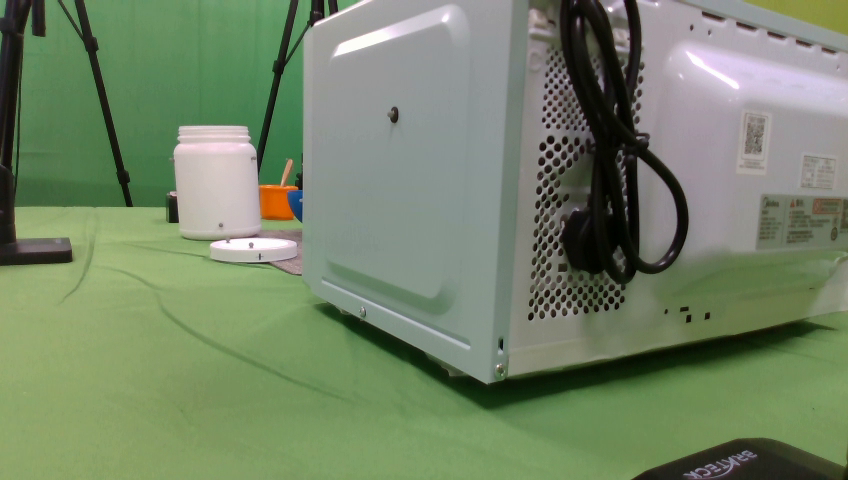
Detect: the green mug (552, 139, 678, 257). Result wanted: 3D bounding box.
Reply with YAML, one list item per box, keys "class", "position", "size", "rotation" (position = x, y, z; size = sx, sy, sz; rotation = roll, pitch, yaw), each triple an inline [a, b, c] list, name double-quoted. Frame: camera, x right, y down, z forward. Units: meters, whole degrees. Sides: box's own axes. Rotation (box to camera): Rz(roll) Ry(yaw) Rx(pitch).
- class: "green mug"
  position: [0.179, -0.037, 0.582]
  size: [0.124, 0.105, 0.093]
  rotation: [1, 1, 44]

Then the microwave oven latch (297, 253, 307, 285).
- class: "microwave oven latch"
  position: [-0.082, 0.027, 0.582]
  size: [0.079, 0.029, 0.030]
  rotation: [-1, 7, -32]

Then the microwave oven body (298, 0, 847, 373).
- class: "microwave oven body"
  position: [0.151, -0.055, 0.543]
  size: [0.444, 0.260, 0.324]
  rotation: [-1, 8, -33]

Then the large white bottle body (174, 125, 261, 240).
- class: "large white bottle body"
  position: [-0.349, -0.100, 1.024]
  size: [0.131, 0.184, 0.130]
  rotation: [-1, 9, 0]

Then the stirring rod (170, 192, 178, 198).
- class: "stirring rod"
  position: [-0.465, -0.098, 1.283]
  size: [0.014, 0.006, 0.177]
  rotation: [42, 21, 17]

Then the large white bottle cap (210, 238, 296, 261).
- class: "large white bottle cap"
  position: [-0.236, 0.012, 0.839]
  size: [0.115, 0.018, 0.115]
  rotation: [2, 7, 0]

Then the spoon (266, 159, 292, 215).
- class: "spoon"
  position: [-0.333, -0.127, 1.424]
  size: [0.041, 0.193, 0.022]
  rotation: [0, -37, 7]

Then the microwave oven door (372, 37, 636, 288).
- class: "microwave oven door"
  position: [0.109, -0.080, 0.686]
  size: [0.358, 0.243, 0.039]
  rotation: [-2, 9, -33]

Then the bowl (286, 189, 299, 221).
- class: "bowl"
  position: [-0.179, -0.051, 1.115]
  size: [0.151, 0.077, 0.151]
  rotation: [3, 8, 0]
